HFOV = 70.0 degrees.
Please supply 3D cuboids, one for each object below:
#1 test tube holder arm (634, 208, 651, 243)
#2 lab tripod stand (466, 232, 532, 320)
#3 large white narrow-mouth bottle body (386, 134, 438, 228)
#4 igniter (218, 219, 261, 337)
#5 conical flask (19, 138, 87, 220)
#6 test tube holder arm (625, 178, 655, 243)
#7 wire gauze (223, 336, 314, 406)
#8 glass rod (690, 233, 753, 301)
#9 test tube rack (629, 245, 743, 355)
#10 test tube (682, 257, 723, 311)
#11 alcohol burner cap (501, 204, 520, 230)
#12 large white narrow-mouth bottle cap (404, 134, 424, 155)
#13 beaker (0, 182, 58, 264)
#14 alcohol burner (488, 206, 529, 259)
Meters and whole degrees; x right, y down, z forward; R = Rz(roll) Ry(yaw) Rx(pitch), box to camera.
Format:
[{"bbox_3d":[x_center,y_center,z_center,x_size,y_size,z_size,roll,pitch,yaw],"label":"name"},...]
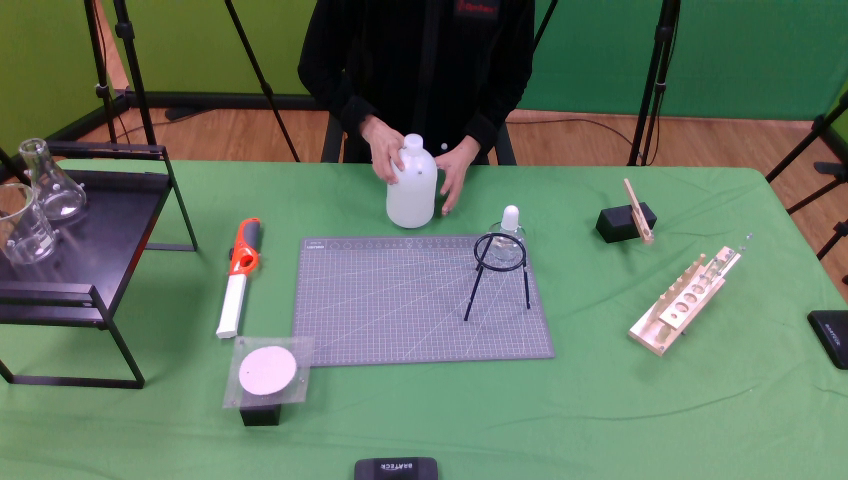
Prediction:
[{"bbox_3d":[0.428,-0.030,1.189,0.010,0.015,0.087,1,47,-2],"label":"test tube holder arm"},{"bbox_3d":[0.125,0.059,1.065,0.148,0.132,0.147,1,45,0],"label":"lab tripod stand"},{"bbox_3d":[-0.023,-0.121,1.183,0.102,0.195,0.101,2,48,-2],"label":"large white narrow-mouth bottle body"},{"bbox_3d":[-0.336,0.060,1.111,0.057,0.025,0.274,-8,46,3],"label":"igniter"},{"bbox_3d":[-0.576,-0.097,0.930,0.075,0.122,0.075,2,46,-2],"label":"conical flask"},{"bbox_3d":[0.433,-0.062,1.220,0.013,0.015,0.177,0,47,-3],"label":"test tube holder arm"},{"bbox_3d":[-0.237,0.197,0.931,0.121,0.011,0.124,1,45,-4],"label":"wire gauze"},{"bbox_3d":[0.507,0.053,1.041,0.008,0.200,0.008,5,51,-6],"label":"glass rod"},{"bbox_3d":[0.474,0.095,1.091,0.242,0.085,0.066,-34,56,-31],"label":"test tube rack"},{"bbox_3d":[0.475,0.080,1.037,0.017,0.151,0.017,1,51,-1],"label":"test tube"},{"bbox_3d":[0.164,-0.046,1.133,0.034,0.048,0.033,2,40,-2],"label":"alcohol burner cap"},{"bbox_3d":[-0.018,-0.177,1.120,0.038,0.024,0.037,3,48,-3],"label":"large white narrow-mouth bottle cap"},{"bbox_3d":[-0.582,-0.019,0.870,0.074,0.101,0.083,5,46,1],"label":"beaker"},{"bbox_3d":[0.163,-0.020,1.158,0.078,0.120,0.077,0,47,0],"label":"alcohol burner"}]
